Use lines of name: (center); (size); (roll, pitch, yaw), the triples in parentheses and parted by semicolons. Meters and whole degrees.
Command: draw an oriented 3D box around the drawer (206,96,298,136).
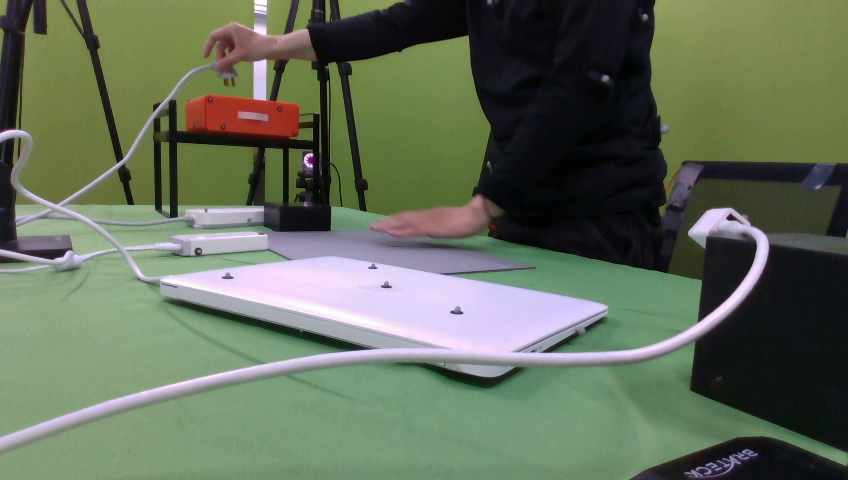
drawer: (-0.414, -0.275, 1.376); (0.195, 0.073, 0.210); (-3, 8, -31)

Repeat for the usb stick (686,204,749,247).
usb stick: (0.214, -0.010, 0.448); (0.021, 0.027, 0.059); (39, 2, 6)

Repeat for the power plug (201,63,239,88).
power plug: (-0.417, -0.335, 1.239); (0.073, 0.052, 0.035); (-13, 27, -20)

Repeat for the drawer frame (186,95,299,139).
drawer frame: (-0.417, -0.277, 1.378); (0.203, 0.082, 0.212); (-3, 8, -32)

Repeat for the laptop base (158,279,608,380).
laptop base: (-0.039, 0.059, 0.556); (0.352, 0.023, 0.237); (8, 7, 33)

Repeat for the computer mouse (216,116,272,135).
computer mouse: (-0.402, -0.257, 1.353); (0.118, 0.041, 0.062); (-5, 14, -35)

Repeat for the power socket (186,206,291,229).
power socket: (-0.365, -0.048, 1.207); (0.072, 0.032, 0.228); (7, 9, 36)

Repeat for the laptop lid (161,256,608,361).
laptop lid: (-0.037, 0.046, 0.556); (0.355, 0.013, 0.243); (8, 8, 35)

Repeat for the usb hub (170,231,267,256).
usb hub: (-0.291, 0.004, 0.862); (0.049, 0.025, 0.126); (10, 11, 42)
